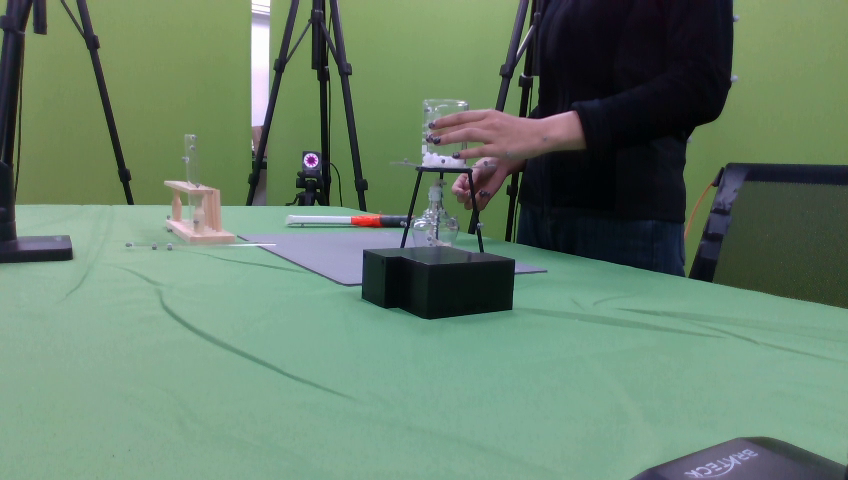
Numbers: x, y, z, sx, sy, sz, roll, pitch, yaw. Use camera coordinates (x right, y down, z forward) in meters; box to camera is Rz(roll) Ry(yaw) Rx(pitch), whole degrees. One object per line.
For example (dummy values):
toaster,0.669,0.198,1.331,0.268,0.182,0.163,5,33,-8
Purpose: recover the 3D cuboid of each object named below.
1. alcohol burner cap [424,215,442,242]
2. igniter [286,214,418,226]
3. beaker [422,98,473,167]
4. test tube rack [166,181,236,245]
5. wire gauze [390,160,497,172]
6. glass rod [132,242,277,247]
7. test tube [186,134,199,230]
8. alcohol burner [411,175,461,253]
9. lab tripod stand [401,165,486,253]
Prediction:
alcohol burner cap,0.017,-0.022,1.098,0.034,0.048,0.034,2,8,0
igniter,-0.145,-0.043,1.263,0.278,0.025,0.057,-1,-2,-24
beaker,0.031,-0.162,0.919,0.074,0.100,0.083,-4,9,-36
test tube rack,-0.383,-0.051,1.024,0.067,0.085,0.241,-2,9,-31
wire gauze,0.027,-0.114,0.920,0.122,0.011,0.124,-5,13,-34
glass rod,-0.316,0.007,0.885,0.201,0.008,0.008,0,7,-27
test tube,-0.360,-0.089,0.946,0.017,0.150,0.017,0,10,0
alcohol burner,0.018,-0.040,0.931,0.078,0.119,0.078,0,7,0
lab tripod stand,0.028,-0.049,0.930,0.148,0.131,0.148,2,9,0
